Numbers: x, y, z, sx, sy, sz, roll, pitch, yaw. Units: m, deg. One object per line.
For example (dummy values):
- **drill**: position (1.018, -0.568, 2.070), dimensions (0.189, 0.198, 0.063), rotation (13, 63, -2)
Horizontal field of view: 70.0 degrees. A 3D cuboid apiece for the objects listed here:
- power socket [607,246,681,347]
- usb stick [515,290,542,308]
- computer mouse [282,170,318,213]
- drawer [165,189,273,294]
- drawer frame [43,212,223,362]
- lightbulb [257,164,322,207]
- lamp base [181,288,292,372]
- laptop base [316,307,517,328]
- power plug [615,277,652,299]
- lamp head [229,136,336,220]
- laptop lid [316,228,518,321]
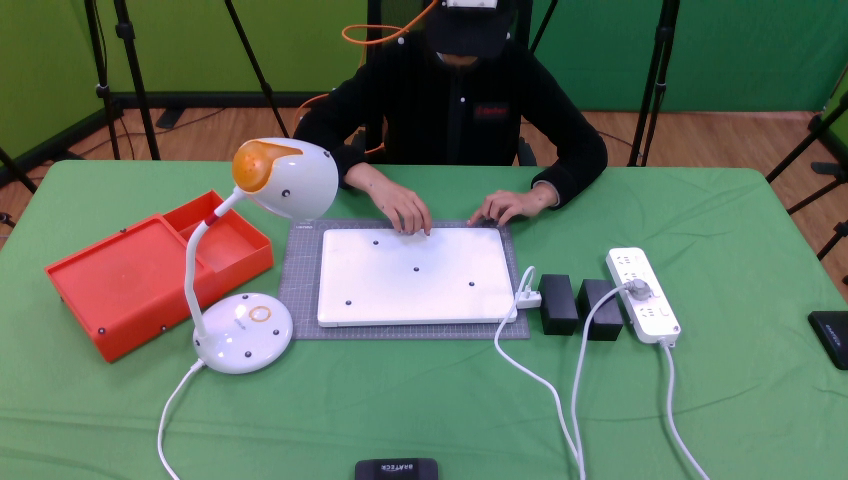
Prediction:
- **power socket**: position (0.403, 0.096, 1.123), dimensions (0.072, 0.033, 0.225), rotation (-3, 46, -5)
- **usb stick**: position (0.181, 0.107, 1.089), dimensions (0.059, 0.027, 0.021), rotation (-6, 47, -4)
- **computer mouse**: position (-0.259, -0.106, 1.272), dimensions (0.063, 0.041, 0.116), rotation (4, 49, -3)
- **drawer**: position (-0.419, 0.021, 1.108), dimensions (0.193, 0.073, 0.211), rotation (37, 55, 27)
- **drawer frame**: position (-0.497, 0.073, 1.049), dimensions (0.213, 0.083, 0.200), rotation (-34, 57, -31)
- **lightbulb**: position (-0.181, -0.077, 0.811), dimensions (0.059, 0.059, 0.108), rotation (36, 13, 27)
- **lamp base**: position (-0.309, 0.108, 0.959), dimensions (0.160, 0.181, 0.179), rotation (29, 55, 22)
- **laptop base**: position (-0.017, 0.067, 1.133), dimensions (0.355, 0.023, 0.234), rotation (-1, 43, -5)
- **power plug**: position (0.375, 0.088, 1.097), dimensions (0.072, 0.053, 0.035), rotation (6, 46, 2)
- **lamp head**: position (-0.196, -0.085, 0.791), dimensions (0.112, 0.112, 0.123), rotation (36, 15, 27)
- **laptop lid**: position (-0.016, 0.057, 1.126), dimensions (0.357, 0.013, 0.240), rotation (0, 43, -4)
